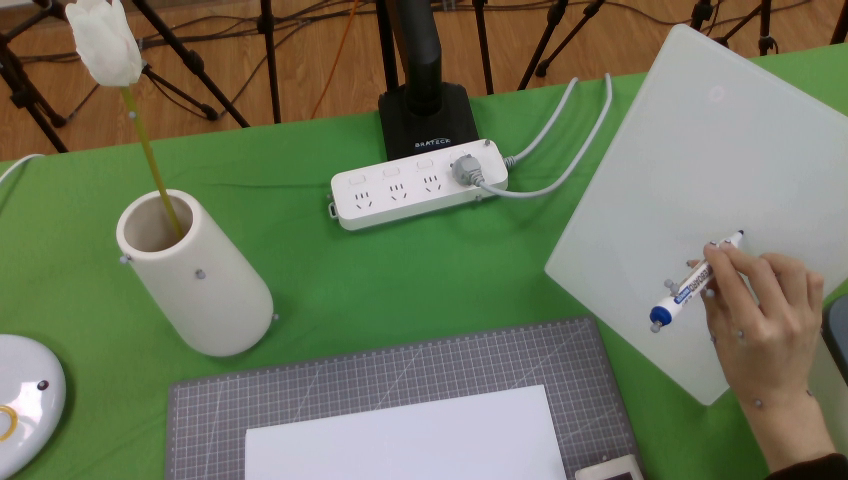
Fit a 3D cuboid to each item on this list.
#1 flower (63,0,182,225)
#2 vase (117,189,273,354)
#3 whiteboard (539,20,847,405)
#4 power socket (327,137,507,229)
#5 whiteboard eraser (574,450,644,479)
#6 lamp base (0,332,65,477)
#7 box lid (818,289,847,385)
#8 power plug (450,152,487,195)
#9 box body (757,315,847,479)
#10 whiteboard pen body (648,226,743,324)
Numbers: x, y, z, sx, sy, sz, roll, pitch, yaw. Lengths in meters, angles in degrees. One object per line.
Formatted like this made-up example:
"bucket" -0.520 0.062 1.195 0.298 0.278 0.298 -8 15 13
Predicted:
"flower" -0.213 -0.024 0.517 0.038 0.365 0.043 -19 43 -17
"vase" -0.214 0.035 0.578 0.098 0.202 0.097 -1 59 3
"whiteboard" 0.284 -0.029 0.577 0.144 0.307 0.215 -29 61 -36
"power socket" -0.007 -0.070 0.730 0.227 0.033 0.071 -14 61 -7
"whiteboard eraser" 0.178 0.247 0.531 0.056 0.042 0.111 -13 60 -8
"lamp base" -0.457 0.123 0.543 0.178 0.182 0.160 20 61 16
"box lid" 0.467 0.179 0.410 0.263 0.015 0.368 -10 61 -4
"power plug" 0.050 -0.070 0.702 0.035 0.053 0.072 -5 61 -1
"box body" 0.470 0.219 0.474 0.254 0.162 0.360 -10 60 -4
"whiteboard pen body" 0.213 0.022 0.466 0.141 0.017 0.017 -33 62 -32
